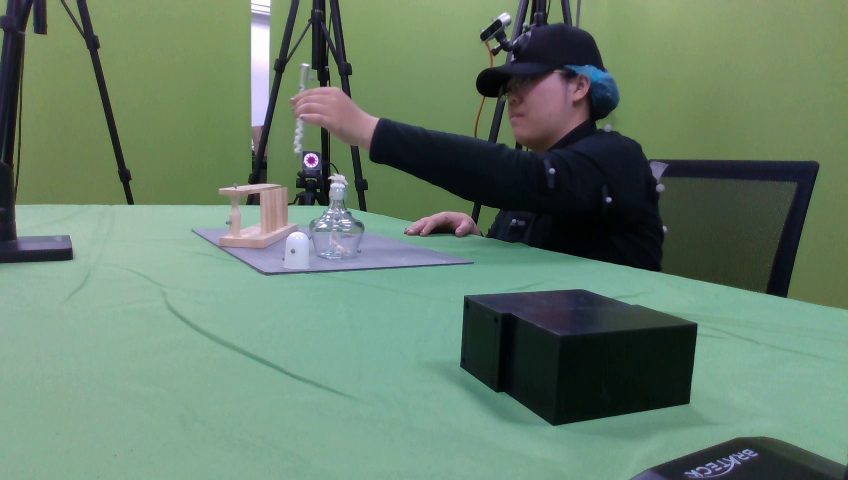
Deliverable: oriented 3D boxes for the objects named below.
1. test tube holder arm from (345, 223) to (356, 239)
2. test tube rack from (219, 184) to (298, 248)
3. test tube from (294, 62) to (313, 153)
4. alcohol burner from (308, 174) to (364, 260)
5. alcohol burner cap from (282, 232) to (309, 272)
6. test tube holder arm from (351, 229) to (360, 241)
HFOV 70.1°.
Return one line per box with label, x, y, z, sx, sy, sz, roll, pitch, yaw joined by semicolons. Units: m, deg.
test tube holder arm;-0.132;-0.018;1.083;0.013;0.015;0.178;35;0;-12
test tube rack;-0.266;-0.046;1.002;0.067;0.085;0.242;2;7;0
test tube;-0.204;-0.222;1.019;0.017;0.150;0.017;9;13;-2
alcohol burner;-0.121;-0.033;0.841;0.078;0.119;0.078;3;5;0
alcohol burner cap;-0.157;0.014;0.740;0.034;0.048;0.034;3;6;0
test tube holder arm;-0.120;-0.009;1.040;0.010;0.015;0.087;35;0;-12
